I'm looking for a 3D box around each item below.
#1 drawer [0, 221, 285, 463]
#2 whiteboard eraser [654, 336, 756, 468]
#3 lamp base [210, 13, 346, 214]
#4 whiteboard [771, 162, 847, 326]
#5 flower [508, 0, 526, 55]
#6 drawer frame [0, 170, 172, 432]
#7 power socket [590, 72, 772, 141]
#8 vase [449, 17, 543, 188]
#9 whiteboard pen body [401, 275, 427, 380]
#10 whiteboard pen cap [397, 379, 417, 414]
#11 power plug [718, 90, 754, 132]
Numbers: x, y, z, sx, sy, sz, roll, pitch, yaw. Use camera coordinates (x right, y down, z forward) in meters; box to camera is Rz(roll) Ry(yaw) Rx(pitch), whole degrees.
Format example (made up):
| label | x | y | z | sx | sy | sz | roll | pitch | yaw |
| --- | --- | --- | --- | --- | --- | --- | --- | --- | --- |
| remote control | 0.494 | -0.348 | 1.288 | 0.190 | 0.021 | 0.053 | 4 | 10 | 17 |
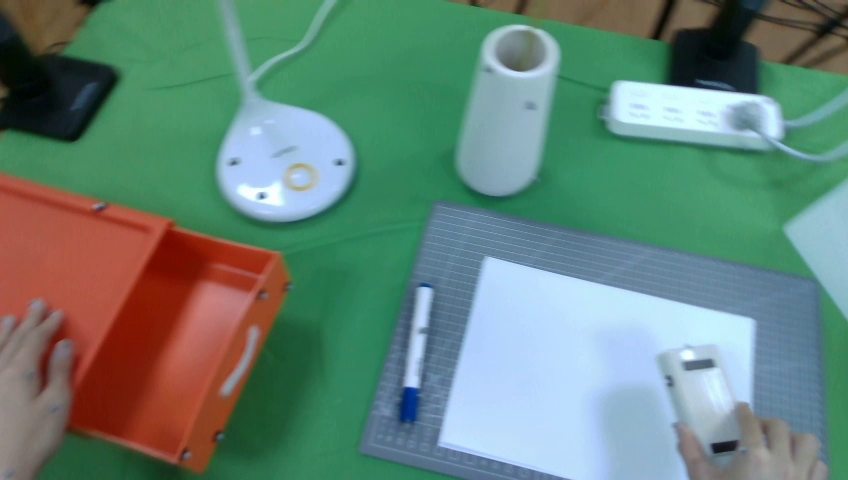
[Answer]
| label | x | y | z | sx | sy | sz | roll | pitch | yaw |
| --- | --- | --- | --- | --- | --- | --- | --- | --- | --- |
| drawer | -0.263 | 0.076 | 0.558 | 0.211 | 0.074 | 0.193 | 14 | 64 | 7 |
| whiteboard eraser | 0.252 | 0.146 | 0.552 | 0.056 | 0.042 | 0.111 | -4 | 62 | -9 |
| lamp base | -0.183 | -0.144 | 0.667 | 0.160 | 0.182 | 0.178 | -39 | 67 | -19 |
| whiteboard | 0.559 | -0.027 | 0.587 | 0.144 | 0.307 | 0.215 | -8 | 60 | -27 |
| flower | 0.089 | -0.195 | 0.596 | 0.038 | 0.364 | 0.043 | 1 | 44 | -8 |
| drawer frame | -0.370 | 0.049 | 0.567 | 0.213 | 0.083 | 0.200 | 15 | 64 | 3 |
| power socket | 0.330 | -0.171 | 0.776 | 0.227 | 0.033 | 0.071 | 7 | 63 | 2 |
| vase | 0.077 | -0.142 | 0.662 | 0.098 | 0.201 | 0.097 | 0 | 61 | 0 |
| whiteboard pen body | -0.011 | 0.102 | 0.628 | 0.017 | 0.017 | 0.139 | 6 | 64 | 2 |
| whiteboard pen cap | -0.017 | 0.155 | 0.603 | 0.018 | 0.018 | 0.033 | 6 | 64 | 2 |
| power plug | 0.377 | -0.151 | 0.740 | 0.035 | 0.053 | 0.072 | 16 | 65 | 8 |
